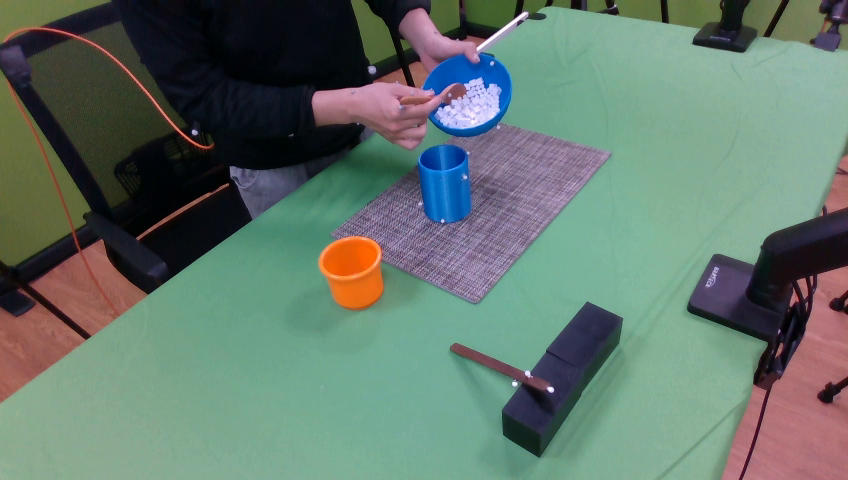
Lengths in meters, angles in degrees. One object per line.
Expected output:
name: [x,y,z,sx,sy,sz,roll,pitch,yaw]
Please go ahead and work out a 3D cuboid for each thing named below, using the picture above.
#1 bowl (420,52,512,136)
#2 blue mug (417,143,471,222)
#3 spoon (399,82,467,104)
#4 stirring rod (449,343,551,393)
bowl: [0.075,-0.227,1.005,0.151,0.077,0.150,-5,66,11]
blue mug: [0.031,-0.104,1.014,0.082,0.106,0.115,-14,41,-8]
spoon: [0.017,-0.226,0.949,0.021,0.041,0.194,43,32,9]
stirring rod: [0.088,0.154,0.741,0.014,0.006,0.174,-40,28,-25]
